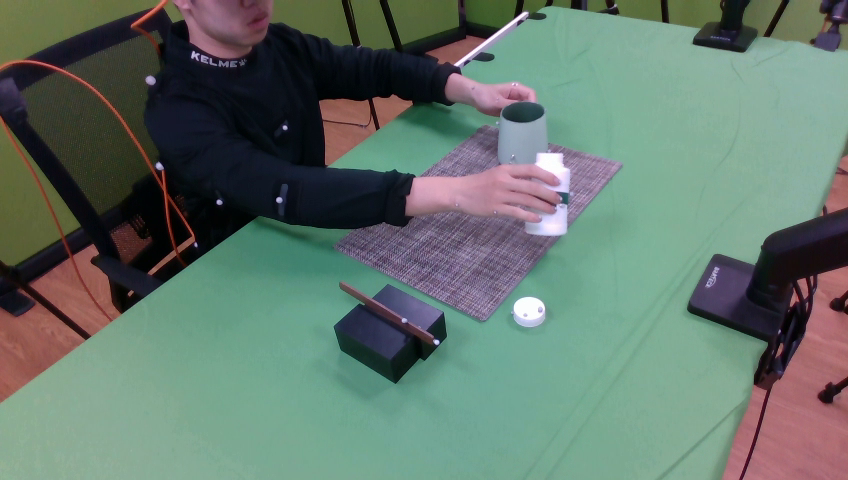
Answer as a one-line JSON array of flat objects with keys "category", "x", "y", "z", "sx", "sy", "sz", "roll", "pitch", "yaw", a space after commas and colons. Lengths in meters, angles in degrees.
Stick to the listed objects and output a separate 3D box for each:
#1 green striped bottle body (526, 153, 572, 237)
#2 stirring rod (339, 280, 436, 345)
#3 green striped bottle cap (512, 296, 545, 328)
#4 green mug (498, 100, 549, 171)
[{"category": "green striped bottle body", "x": 0.186, "y": -0.068, "z": 0.896, "sx": 0.063, "sy": 0.119, "sz": 0.063, "roll": 1, "pitch": 10, "yaw": 0}, {"category": "stirring rod", "x": -0.052, "y": 0.093, "z": 0.795, "sx": 0.174, "sy": 0.014, "sz": 0.006, "roll": 27, "pitch": 47, "yaw": 33}, {"category": "green striped bottle cap", "x": 0.145, "y": 0.098, "z": 0.836, "sx": 0.044, "sy": 0.020, "sz": 0.044, "roll": -2, "pitch": 45, "yaw": 3}, {"category": "green mug", "x": 0.182, "y": -0.197, "z": 1.101, "sx": 0.092, "sy": 0.105, "sz": 0.125, "roll": 3, "pitch": 42, "yaw": 12}]
